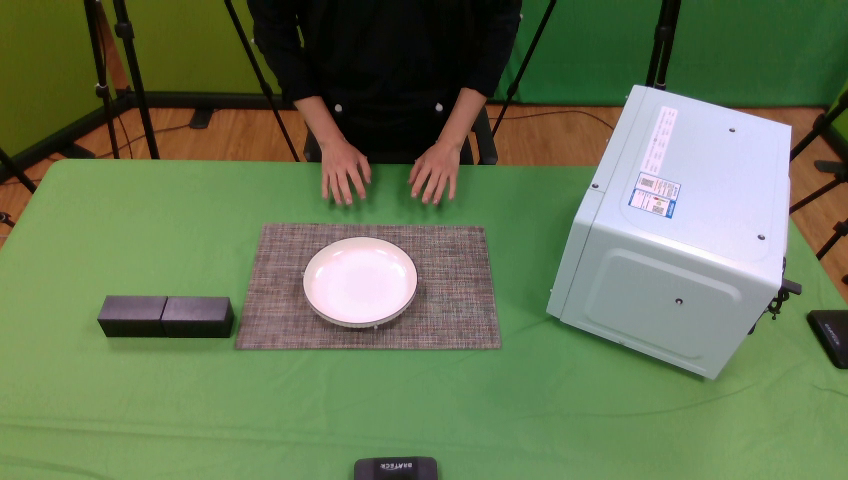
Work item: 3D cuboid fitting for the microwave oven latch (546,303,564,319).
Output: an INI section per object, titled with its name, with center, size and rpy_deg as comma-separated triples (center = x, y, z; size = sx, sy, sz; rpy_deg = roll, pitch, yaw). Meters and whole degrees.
[microwave oven latch]
center = 0.242, 0.102, 1.081
size = 0.030, 0.029, 0.079
rpy_deg = 21, 48, 17

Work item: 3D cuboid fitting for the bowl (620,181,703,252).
[bowl]
center = 0.433, -0.031, 1.140
size = 0.151, 0.077, 0.150
rpy_deg = 4, 49, -4

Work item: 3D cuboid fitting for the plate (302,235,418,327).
[plate]
center = -0.114, 0.077, 1.098
size = 0.208, 0.039, 0.206
rpy_deg = 2, 46, -2

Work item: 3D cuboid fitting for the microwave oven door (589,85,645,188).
[microwave oven door]
center = 0.342, -0.107, 1.149
size = 0.039, 0.245, 0.354
rpy_deg = 20, 48, 15

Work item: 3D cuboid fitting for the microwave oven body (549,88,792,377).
[microwave oven body]
center = 0.456, -0.028, 1.088
size = 0.325, 0.261, 0.440
rpy_deg = 20, 47, 16
